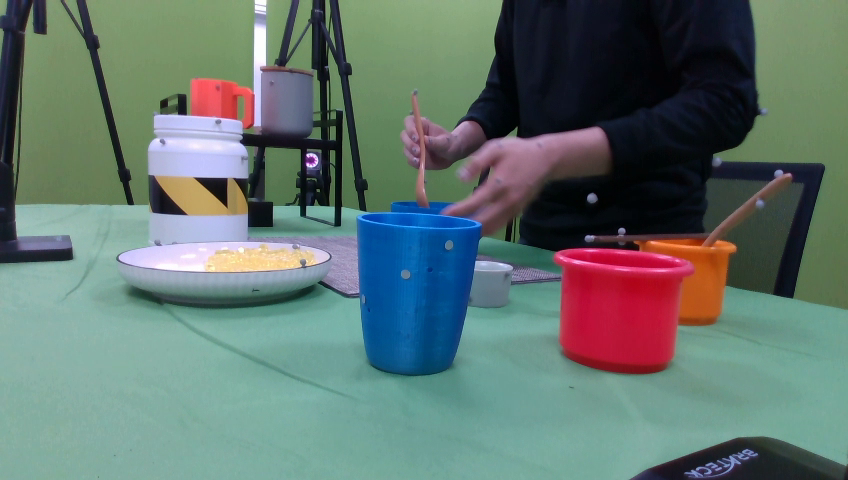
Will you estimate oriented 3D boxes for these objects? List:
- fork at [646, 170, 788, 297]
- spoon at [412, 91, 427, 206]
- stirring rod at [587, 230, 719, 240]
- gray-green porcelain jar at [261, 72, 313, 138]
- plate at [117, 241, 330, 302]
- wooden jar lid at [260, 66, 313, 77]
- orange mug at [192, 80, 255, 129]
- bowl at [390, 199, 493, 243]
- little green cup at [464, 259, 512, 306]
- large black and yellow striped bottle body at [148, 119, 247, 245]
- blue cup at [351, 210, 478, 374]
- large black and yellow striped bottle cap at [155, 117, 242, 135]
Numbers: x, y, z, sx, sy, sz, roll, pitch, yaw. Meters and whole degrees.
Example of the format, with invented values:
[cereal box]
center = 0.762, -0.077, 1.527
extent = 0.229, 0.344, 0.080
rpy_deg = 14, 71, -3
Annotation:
[fork]
center = 0.256, 0.004, 0.543
extent = 0.028, 0.018, 0.207
rpy_deg = 3, -36, -9
[spoon]
center = -0.006, -0.129, 0.902
extent = 0.022, 0.193, 0.041
rpy_deg = 0, -9, -10
[stirring rod]
center = 0.226, -0.005, 0.587
extent = 0.177, 0.006, 0.014
rpy_deg = -2, 10, -29
[gray-green porcelain jar]
center = -0.284, -0.276, 1.253
extent = 0.106, 0.126, 0.106
rpy_deg = 2, 8, 0
[plate]
center = -0.203, 0.031, 0.630
extent = 0.209, 0.038, 0.209
rpy_deg = 3, 7, 0
[wooden jar lid]
center = -0.283, -0.339, 1.244
extent = 0.108, 0.020, 0.108
rpy_deg = 6, 8, -1
[orange mug]
center = -0.389, -0.257, 1.172
extent = 0.126, 0.100, 0.083
rpy_deg = 0, 6, 9
[bowl]
center = 0.024, -0.016, 0.874
extent = 0.151, 0.077, 0.151
rpy_deg = 2, 8, 0
[little green cup]
center = 0.057, 0.043, 0.611
extent = 0.061, 0.038, 0.061
rpy_deg = 3, 7, 0
[large black and yellow striped bottle body]
center = -0.318, -0.076, 0.855
extent = 0.131, 0.184, 0.130
rpy_deg = 2, 7, 0
[blue cup]
center = -0.009, 0.034, 0.414
extent = 0.093, 0.100, 0.092
rpy_deg = 4, 8, 0
[large black and yellow striped bottle cap]
center = -0.313, -0.159, 0.845
extent = 0.115, 0.019, 0.115
rpy_deg = 3, 9, 0
